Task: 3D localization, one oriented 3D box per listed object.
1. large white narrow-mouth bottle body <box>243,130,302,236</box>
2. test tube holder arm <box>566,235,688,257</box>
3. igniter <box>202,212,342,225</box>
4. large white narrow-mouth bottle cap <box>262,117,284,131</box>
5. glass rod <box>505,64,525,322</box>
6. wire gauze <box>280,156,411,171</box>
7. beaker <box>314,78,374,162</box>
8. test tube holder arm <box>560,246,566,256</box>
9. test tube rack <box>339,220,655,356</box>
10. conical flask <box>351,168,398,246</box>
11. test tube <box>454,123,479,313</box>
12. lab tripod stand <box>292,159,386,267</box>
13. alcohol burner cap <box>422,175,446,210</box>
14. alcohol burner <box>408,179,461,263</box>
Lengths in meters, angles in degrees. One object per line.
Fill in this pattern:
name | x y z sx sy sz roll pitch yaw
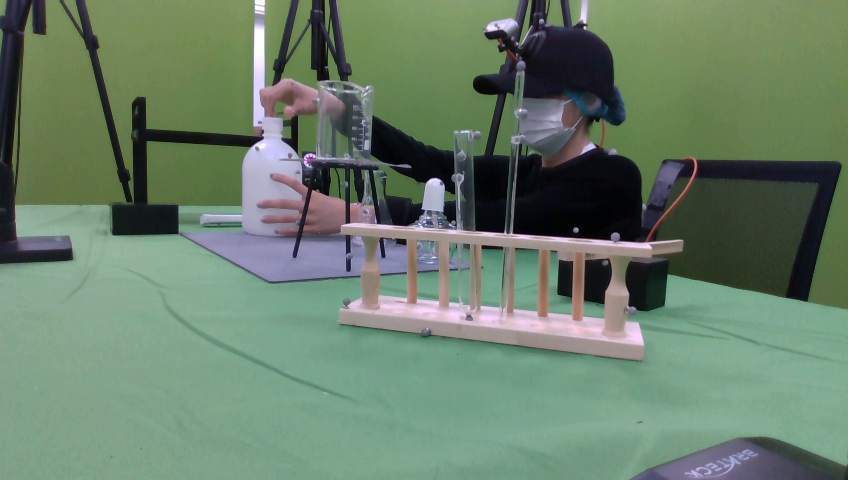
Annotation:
large white narrow-mouth bottle body | -0.265 -0.109 1.062 0.102 0.194 0.102 2 8 0
test tube holder arm | 0.215 0.006 0.629 0.179 0.015 0.013 -3 10 -30
igniter | -0.298 -0.043 1.216 0.278 0.025 0.057 -3 -2 -32
large white narrow-mouth bottle cap | -0.262 -0.201 1.047 0.038 0.024 0.037 2 8 0
glass rod | 0.069 -0.030 0.458 0.008 0.199 0.008 0 15 0
wire gauze | -0.103 -0.103 0.785 0.121 0.011 0.126 11 8 42
beaker | -0.101 -0.151 0.775 0.074 0.100 0.083 -2 8 -39
test tube holder arm | 0.173 0.007 0.611 0.088 0.015 0.010 -3 10 -30
test tube rack | 0.056 0.032 0.495 0.242 0.085 0.067 4 7 15
conical flask | -0.078 -0.053 0.962 0.075 0.122 0.075 2 7 0
test tube | 0.034 -0.016 0.477 0.017 0.150 0.017 -2 9 1
lab tripod stand | -0.105 -0.039 0.797 0.148 0.131 0.148 2 5 0
alcohol burner cap | 0.016 -0.065 0.830 0.034 0.048 0.034 7 4 0
alcohol burner | 0.014 -0.029 0.834 0.078 0.119 0.078 0 6 0
